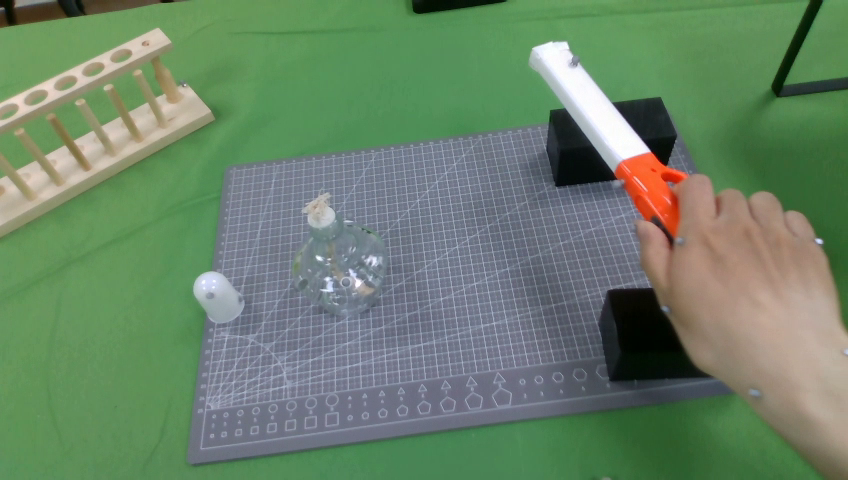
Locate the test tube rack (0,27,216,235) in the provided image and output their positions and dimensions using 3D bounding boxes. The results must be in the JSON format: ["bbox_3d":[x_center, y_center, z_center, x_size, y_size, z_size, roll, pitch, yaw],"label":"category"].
[{"bbox_3d":[-0.346,-0.112,0.609,0.242,0.086,0.066,-34,59,-18],"label":"test tube rack"}]

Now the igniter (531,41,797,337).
[{"bbox_3d":[0.155,-0.048,0.427,0.057,0.025,0.273,-19,60,-15],"label":"igniter"}]

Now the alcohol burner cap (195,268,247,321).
[{"bbox_3d":[-0.171,0.043,0.504,0.034,0.048,0.033,-3,56,5],"label":"alcohol burner cap"}]

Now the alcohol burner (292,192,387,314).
[{"bbox_3d":[-0.070,0.007,0.474,0.078,0.120,0.077,-3,52,5],"label":"alcohol burner"}]
